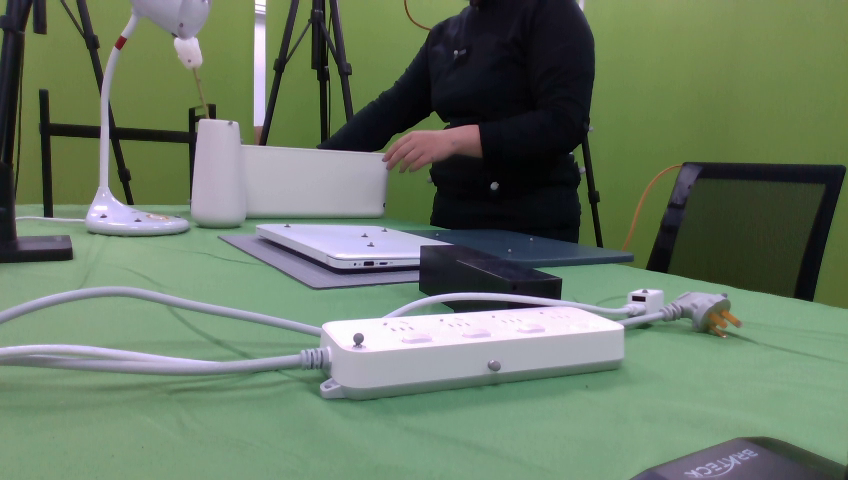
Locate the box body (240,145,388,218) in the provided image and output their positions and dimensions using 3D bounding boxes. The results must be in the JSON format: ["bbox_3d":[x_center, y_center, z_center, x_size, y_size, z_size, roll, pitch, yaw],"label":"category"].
[{"bbox_3d":[-0.297,-0.143,1.474,0.366,0.160,0.253,-1,9,-30],"label":"box body"}]

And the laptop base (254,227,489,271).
[{"bbox_3d":[-0.096,0.012,0.911,0.237,0.023,0.352,2,6,-32],"label":"laptop base"}]

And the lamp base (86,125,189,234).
[{"bbox_3d":[-0.497,-0.105,1.027,0.179,0.180,0.160,1,7,2],"label":"lamp base"}]

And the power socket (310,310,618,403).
[{"bbox_3d":[0.033,0.074,0.415,0.228,0.032,0.072,-1,7,-24],"label":"power socket"}]

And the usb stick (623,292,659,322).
[{"bbox_3d":[0.211,0.063,0.580,0.021,0.027,0.059,-1,-3,36],"label":"usb stick"}]

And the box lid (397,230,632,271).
[{"bbox_3d":[0.140,0.012,1.045,0.265,0.015,0.369,-1,8,-32],"label":"box lid"}]

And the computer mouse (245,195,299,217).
[{"bbox_3d":[-0.344,-0.078,1.368,0.118,0.041,0.062,-12,16,-30],"label":"computer mouse"}]

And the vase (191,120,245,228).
[{"bbox_3d":[-0.389,-0.124,1.142,0.098,0.200,0.098,3,9,0],"label":"vase"}]

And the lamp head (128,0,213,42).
[{"bbox_3d":[-0.423,-0.394,0.980,0.123,0.112,0.112,20,7,-3],"label":"lamp head"}]

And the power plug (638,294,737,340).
[{"bbox_3d":[0.235,0.077,0.535,0.072,0.035,0.052,-34,40,-6],"label":"power plug"}]

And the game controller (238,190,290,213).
[{"bbox_3d":[-0.391,-0.094,1.465,0.097,0.051,0.154,-3,8,-29],"label":"game controller"}]

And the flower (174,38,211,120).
[{"bbox_3d":[-0.401,-0.207,1.141,0.038,0.361,0.044,-14,3,44],"label":"flower"}]

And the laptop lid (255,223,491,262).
[{"bbox_3d":[-0.093,0.000,0.911,0.243,0.013,0.355,1,7,-30],"label":"laptop lid"}]
